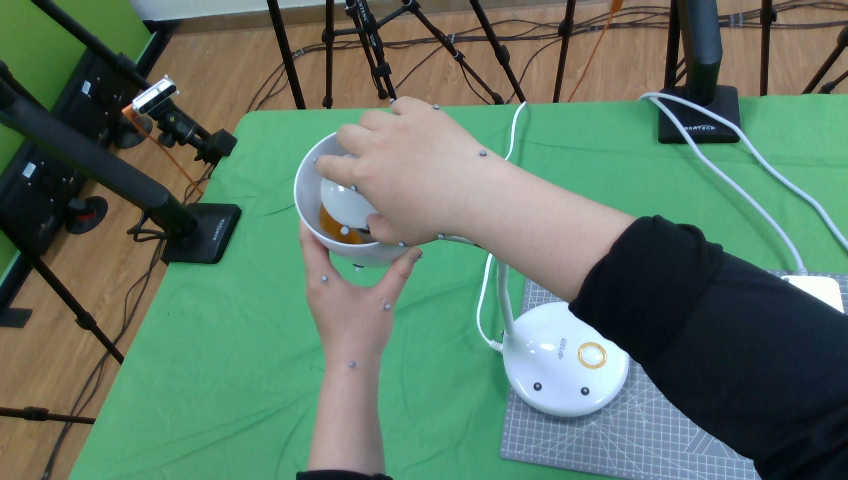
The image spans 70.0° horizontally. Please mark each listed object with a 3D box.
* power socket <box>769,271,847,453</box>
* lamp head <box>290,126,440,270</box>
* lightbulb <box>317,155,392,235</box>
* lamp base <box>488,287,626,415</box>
[{"bbox_3d":[0.464,0.136,0.724,0.072,0.033,0.225,2,57,16],"label":"power socket"},{"bbox_3d":[-0.044,-0.022,0.535,0.112,0.124,0.111,-4,66,9],"label":"lamp head"},{"bbox_3d":[-0.053,-0.031,0.507,0.059,0.108,0.059,-2,71,6],"label":"lightbulb"},{"bbox_3d":[0.151,0.111,0.740,0.178,0.182,0.159,-4,56,17],"label":"lamp base"}]
